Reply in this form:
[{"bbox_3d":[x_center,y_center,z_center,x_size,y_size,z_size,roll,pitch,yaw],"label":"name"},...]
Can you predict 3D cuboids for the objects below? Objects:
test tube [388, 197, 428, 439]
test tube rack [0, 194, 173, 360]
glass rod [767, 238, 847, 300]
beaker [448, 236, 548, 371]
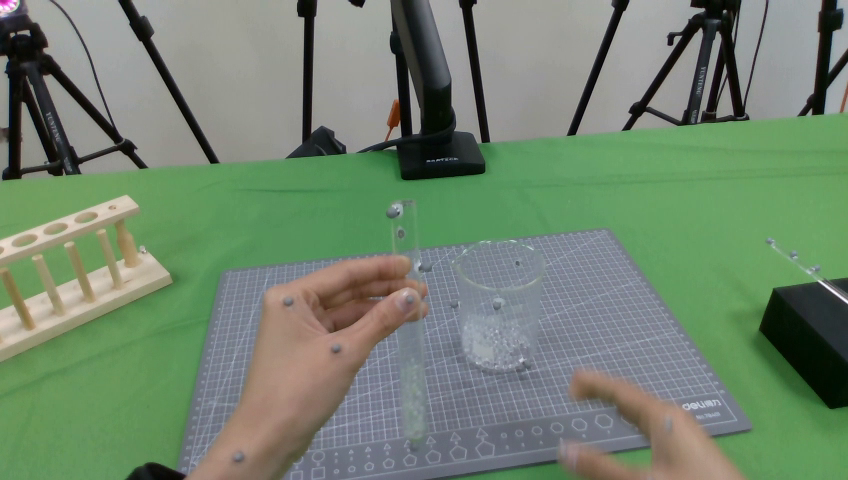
[{"bbox_3d":[-0.009,0.049,0.357,0.017,0.151,0.017,-3,14,1],"label":"test tube"},{"bbox_3d":[-0.385,0.046,0.591,0.242,0.086,0.066,-28,43,-33],"label":"test tube rack"},{"bbox_3d":[0.371,0.051,0.521,0.008,0.008,0.197,-12,35,-13],"label":"glass rod"},{"bbox_3d":[0.063,0.058,0.533,0.084,0.101,0.073,6,35,14],"label":"beaker"}]
